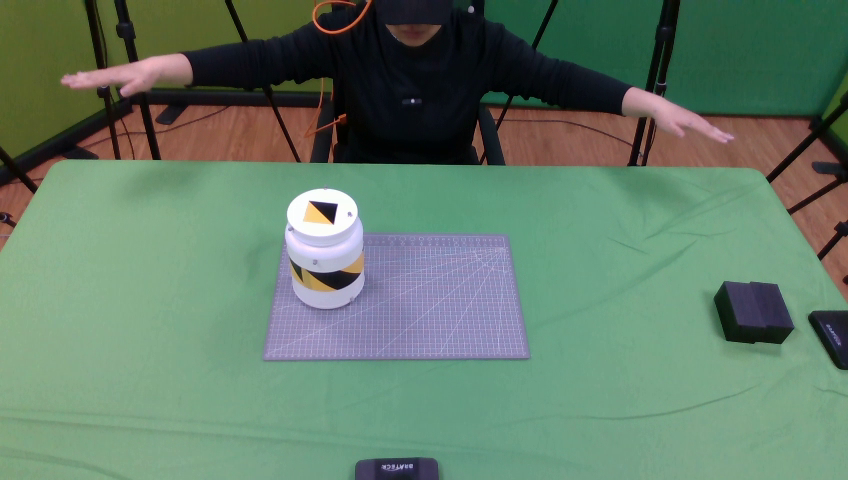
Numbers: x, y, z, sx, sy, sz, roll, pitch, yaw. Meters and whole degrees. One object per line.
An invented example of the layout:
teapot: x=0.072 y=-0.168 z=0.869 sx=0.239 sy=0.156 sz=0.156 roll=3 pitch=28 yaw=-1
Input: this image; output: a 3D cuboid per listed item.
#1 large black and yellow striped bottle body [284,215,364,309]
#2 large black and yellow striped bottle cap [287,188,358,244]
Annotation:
large black and yellow striped bottle body: x=-0.171 y=0.017 z=1.052 sx=0.131 sy=0.185 sz=0.130 roll=2 pitch=46 yaw=-2
large black and yellow striped bottle cap: x=-0.166 y=-0.041 z=0.991 sx=0.115 sy=0.019 sz=0.114 roll=2 pitch=46 yaw=-1
